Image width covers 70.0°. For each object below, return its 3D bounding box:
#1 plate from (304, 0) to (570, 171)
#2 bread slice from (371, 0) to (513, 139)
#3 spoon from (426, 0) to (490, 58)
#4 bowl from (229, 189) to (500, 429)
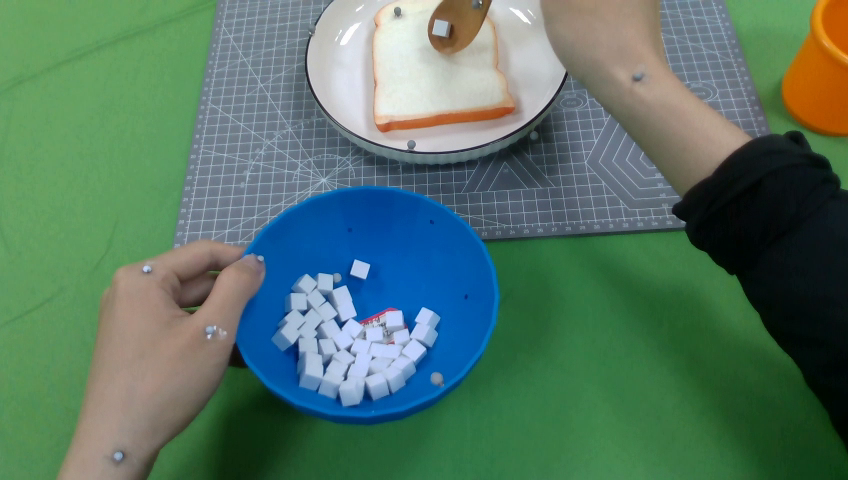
[{"bbox_3d":[0.009,-0.139,0.489,0.209,0.038,0.207,-2,63,4],"label":"plate"},{"bbox_3d":[0.006,-0.142,0.494,0.107,0.018,0.133,-10,64,0],"label":"bread slice"},{"bbox_3d":[0.055,-0.178,0.401,0.022,0.193,0.041,-25,90,-30],"label":"spoon"},{"bbox_3d":[-0.033,0.051,0.369,0.151,0.077,0.150,1,54,-2],"label":"bowl"}]
